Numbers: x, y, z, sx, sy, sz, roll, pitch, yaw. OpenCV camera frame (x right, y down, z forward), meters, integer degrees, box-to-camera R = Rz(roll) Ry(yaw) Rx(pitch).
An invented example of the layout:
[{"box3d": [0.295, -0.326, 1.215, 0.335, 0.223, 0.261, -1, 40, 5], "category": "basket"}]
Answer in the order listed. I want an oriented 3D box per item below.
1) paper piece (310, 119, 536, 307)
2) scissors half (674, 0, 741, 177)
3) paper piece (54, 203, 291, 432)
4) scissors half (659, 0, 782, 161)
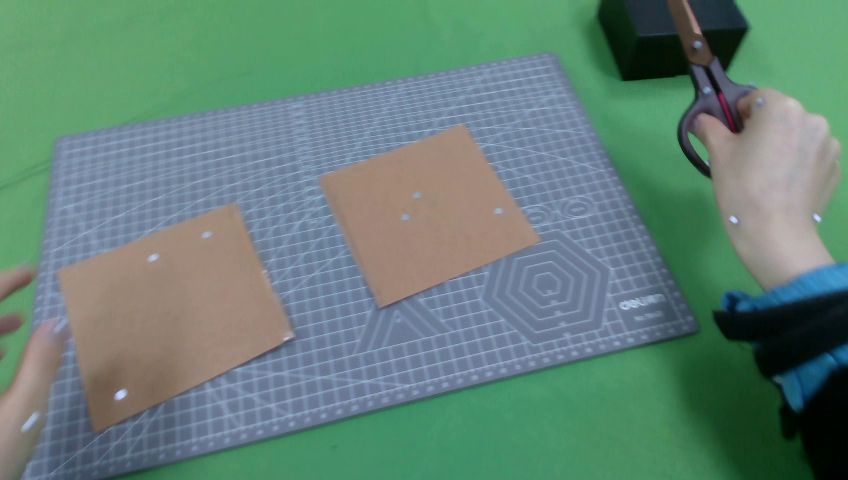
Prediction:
[{"box3d": [-0.004, -0.027, 0.472, 0.136, 0.004, 0.134, -22, 61, -13], "category": "paper piece"}, {"box3d": [0.191, -0.129, 0.446, 0.040, 0.013, 0.174, -14, 85, 4], "category": "scissors half"}, {"box3d": [-0.181, 0.045, 0.428, 0.138, 0.009, 0.134, -25, 56, -13], "category": "paper piece"}, {"box3d": [0.209, -0.137, 0.443, 0.040, 0.013, 0.174, -31, 84, 8], "category": "scissors half"}]
